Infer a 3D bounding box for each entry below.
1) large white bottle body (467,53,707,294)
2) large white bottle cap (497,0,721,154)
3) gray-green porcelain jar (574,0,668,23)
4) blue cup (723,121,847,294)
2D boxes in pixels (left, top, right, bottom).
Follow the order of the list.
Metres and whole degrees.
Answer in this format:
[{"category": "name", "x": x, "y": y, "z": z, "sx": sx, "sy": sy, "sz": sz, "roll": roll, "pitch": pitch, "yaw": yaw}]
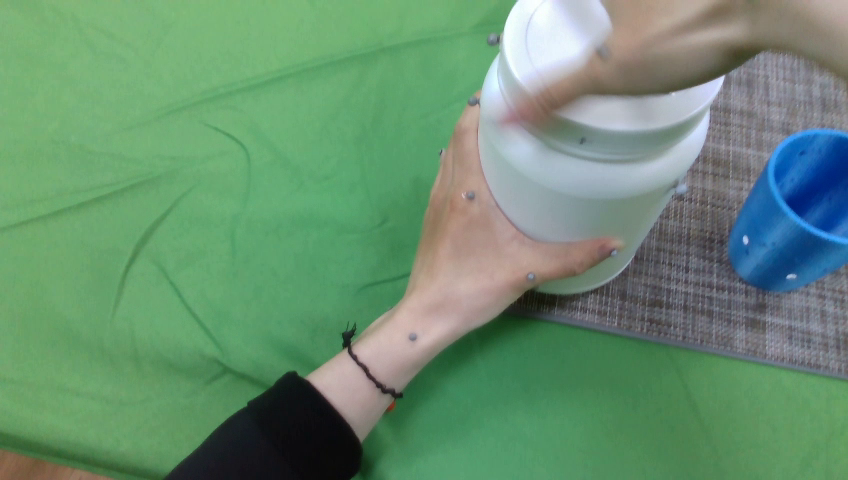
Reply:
[{"category": "large white bottle body", "x": 0.097, "y": -0.056, "z": 0.395, "sx": 0.130, "sy": 0.186, "sz": 0.129, "roll": 0, "pitch": 62, "yaw": 1}, {"category": "large white bottle cap", "x": 0.096, "y": -0.096, "z": 0.319, "sx": 0.115, "sy": 0.018, "sz": 0.114, "roll": 0, "pitch": 62, "yaw": 1}, {"category": "gray-green porcelain jar", "x": 0.188, "y": -0.272, "z": 0.544, "sx": 0.106, "sy": 0.127, "sz": 0.105, "roll": 0, "pitch": 63, "yaw": 1}, {"category": "blue cup", "x": 0.255, "y": -0.010, "z": 0.417, "sx": 0.092, "sy": 0.101, "sz": 0.092, "roll": -1, "pitch": 60, "yaw": 1}]
